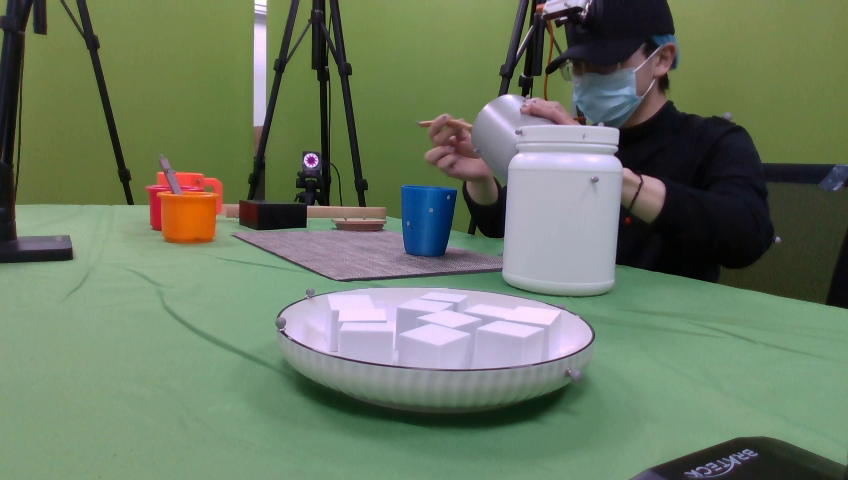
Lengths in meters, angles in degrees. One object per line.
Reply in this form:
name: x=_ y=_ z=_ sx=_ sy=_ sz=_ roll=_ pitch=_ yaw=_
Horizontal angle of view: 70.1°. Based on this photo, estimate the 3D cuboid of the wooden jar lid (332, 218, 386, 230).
wooden jar lid: x=-0.129 y=-0.032 z=1.204 sx=0.108 sy=0.020 sz=0.108 roll=0 pitch=5 yaw=0

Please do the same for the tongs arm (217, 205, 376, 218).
tongs arm: x=-0.288 y=-0.068 z=1.435 sx=0.389 sy=0.027 sz=0.028 roll=0 pitch=-2 yaw=-17

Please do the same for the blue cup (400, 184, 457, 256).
blue cup: x=0.004 y=-0.030 z=0.901 sx=0.093 sy=0.100 sz=0.092 roll=3 pitch=9 yaw=0

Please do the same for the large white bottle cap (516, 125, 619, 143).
large white bottle cap: x=0.164 y=-0.120 z=0.695 sx=0.115 sy=0.018 sz=0.115 roll=2 pitch=7 yaw=0

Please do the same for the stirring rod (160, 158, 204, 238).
stirring rod: x=-0.390 y=-0.070 z=0.972 sx=0.014 sy=0.006 sz=0.175 roll=-2 pitch=50 yaw=-49

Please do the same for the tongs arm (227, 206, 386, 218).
tongs arm: x=-0.251 y=-0.063 z=1.360 sx=0.387 sy=0.026 sz=0.050 roll=-1 pitch=2 yaw=-31

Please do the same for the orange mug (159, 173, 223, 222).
orange mug: x=-0.477 y=-0.089 z=1.241 sx=0.127 sy=0.101 sz=0.083 roll=-7 pitch=11 yaw=-33

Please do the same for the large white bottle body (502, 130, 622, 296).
large white bottle body: x=0.160 y=-0.037 z=0.706 sx=0.131 sy=0.184 sz=0.130 roll=2 pitch=7 yaw=0

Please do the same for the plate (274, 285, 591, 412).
plate: x=0.005 y=0.069 z=0.408 sx=0.208 sy=0.039 sz=0.207 roll=2 pitch=7 yaw=0

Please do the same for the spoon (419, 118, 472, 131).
spoon: x=0.051 y=-0.179 z=0.935 sx=0.042 sy=0.021 sz=0.192 roll=1 pitch=13 yaw=-36

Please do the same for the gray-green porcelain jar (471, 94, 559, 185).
gray-green porcelain jar: x=0.137 y=-0.128 z=0.829 sx=0.106 sy=0.106 sz=0.126 roll=-1 pitch=35 yaw=-25
